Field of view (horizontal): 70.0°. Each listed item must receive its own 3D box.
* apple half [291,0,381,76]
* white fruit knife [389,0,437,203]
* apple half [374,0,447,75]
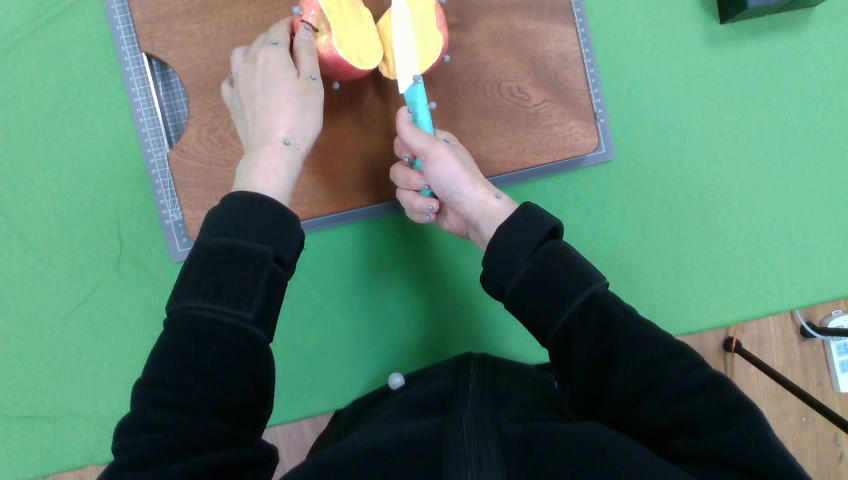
[{"bbox_3d":[-0.081,-0.180,0.529,0.053,0.074,0.081,-17,99,34],"label":"apple half"},{"bbox_3d":[-0.013,-0.136,0.527,0.027,0.016,0.207,-10,84,25],"label":"white fruit knife"},{"bbox_3d":[-0.009,-0.183,0.545,0.081,0.033,0.081,-1,88,35],"label":"apple half"}]
